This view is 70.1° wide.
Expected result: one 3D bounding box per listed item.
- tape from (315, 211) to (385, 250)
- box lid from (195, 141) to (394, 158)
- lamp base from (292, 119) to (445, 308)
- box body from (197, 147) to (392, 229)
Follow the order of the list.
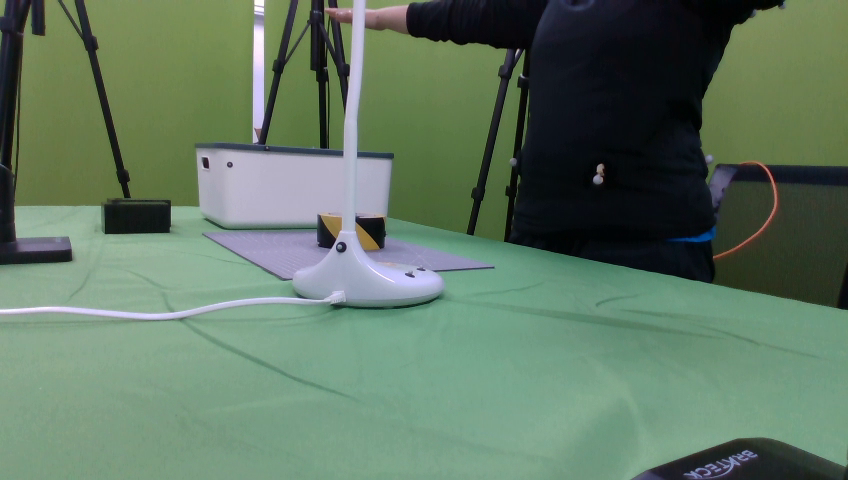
[{"bbox_3d":[-0.119,-0.017,0.973,0.117,0.052,0.117,2,7,0],"label":"tape"},{"bbox_3d":[-0.277,-0.190,1.282,0.373,0.015,0.262,-1,8,-30],"label":"box lid"},{"bbox_3d":[-0.056,-0.030,0.616,0.160,0.180,0.179,3,10,8],"label":"lamp base"},{"bbox_3d":[-0.278,-0.117,1.292,0.366,0.160,0.253,-2,8,-30],"label":"box body"}]
